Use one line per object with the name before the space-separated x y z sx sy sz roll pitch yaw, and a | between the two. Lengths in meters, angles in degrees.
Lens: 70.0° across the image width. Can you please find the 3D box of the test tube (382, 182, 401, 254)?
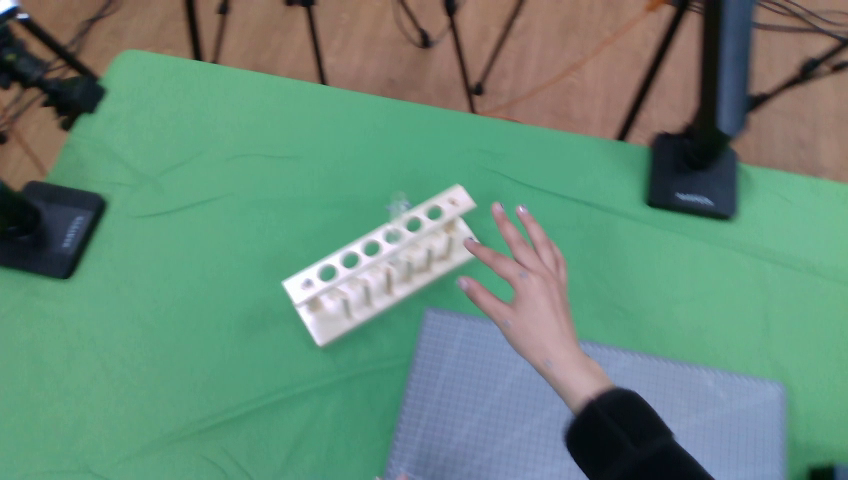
test tube | -0.039 -0.021 0.707 0.017 0.151 0.017 3 62 -5

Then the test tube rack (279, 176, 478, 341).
test tube rack | -0.047 0.023 0.743 0.242 0.086 0.066 -31 70 -14
